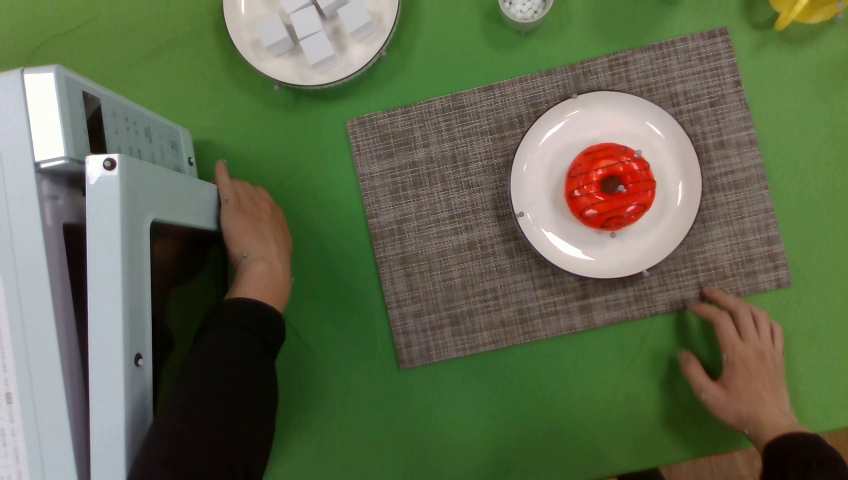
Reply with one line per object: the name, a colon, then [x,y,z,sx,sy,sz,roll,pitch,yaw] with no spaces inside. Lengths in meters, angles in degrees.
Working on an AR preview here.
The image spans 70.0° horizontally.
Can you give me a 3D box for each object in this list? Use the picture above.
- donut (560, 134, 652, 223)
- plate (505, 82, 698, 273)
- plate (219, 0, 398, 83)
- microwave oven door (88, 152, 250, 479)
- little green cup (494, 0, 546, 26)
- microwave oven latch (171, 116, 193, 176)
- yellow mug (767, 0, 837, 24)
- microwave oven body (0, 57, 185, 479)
donut: [0.198,-0.067,0.663,0.099,0.048,0.099,0,88,7]
plate: [0.193,-0.068,0.674,0.209,0.038,0.209,0,89,4]
plate: [-0.131,-0.282,0.706,0.207,0.039,0.207,0,88,4]
microwave oven door: [-0.235,0.111,0.584,0.039,0.244,0.355,-3,88,4]
little green cup: [0.109,-0.276,0.689,0.061,0.039,0.061,0,88,4]
microwave oven latch: [-0.285,-0.099,0.694,0.030,0.029,0.079,-9,89,3]
yellow mug: [0.417,-0.291,0.654,0.100,0.064,0.131,35,92,4]
microwave oven body: [-0.408,0.097,0.602,0.326,0.260,0.441,-10,88,3]
